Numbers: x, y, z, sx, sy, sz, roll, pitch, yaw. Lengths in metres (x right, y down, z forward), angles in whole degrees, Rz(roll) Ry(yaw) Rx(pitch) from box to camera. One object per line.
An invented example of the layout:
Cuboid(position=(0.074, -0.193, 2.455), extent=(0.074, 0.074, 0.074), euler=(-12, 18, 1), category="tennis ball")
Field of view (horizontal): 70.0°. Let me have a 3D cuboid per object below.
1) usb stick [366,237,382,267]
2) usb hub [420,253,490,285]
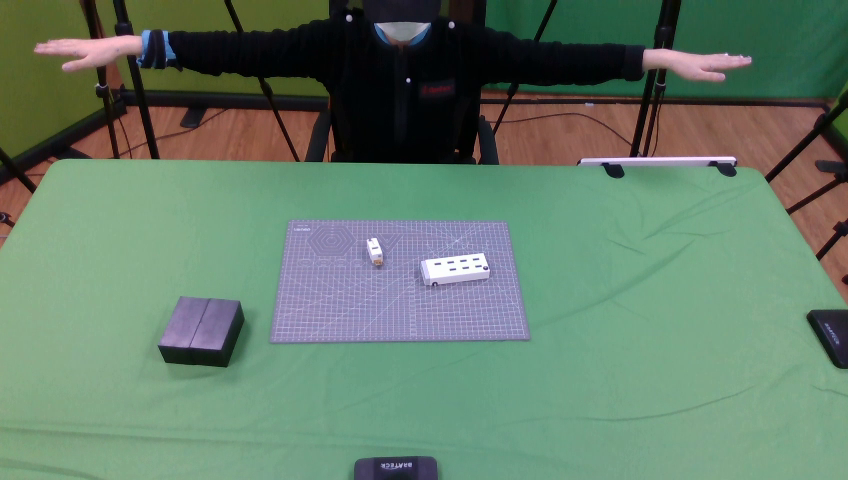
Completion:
Cuboid(position=(-0.093, 0.025, 1.159), extent=(0.021, 0.027, 0.059), euler=(-10, 51, -15), category="usb stick")
Cuboid(position=(0.059, 0.055, 1.142), extent=(0.125, 0.025, 0.049), euler=(-7, 47, -10), category="usb hub")
